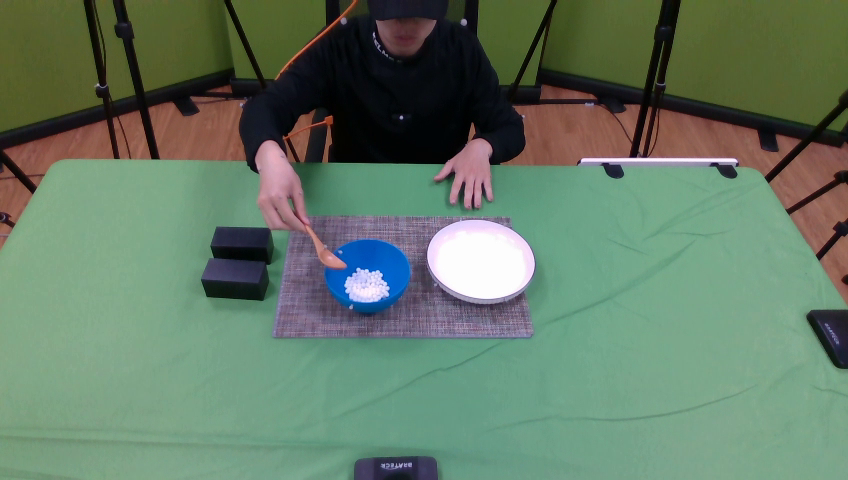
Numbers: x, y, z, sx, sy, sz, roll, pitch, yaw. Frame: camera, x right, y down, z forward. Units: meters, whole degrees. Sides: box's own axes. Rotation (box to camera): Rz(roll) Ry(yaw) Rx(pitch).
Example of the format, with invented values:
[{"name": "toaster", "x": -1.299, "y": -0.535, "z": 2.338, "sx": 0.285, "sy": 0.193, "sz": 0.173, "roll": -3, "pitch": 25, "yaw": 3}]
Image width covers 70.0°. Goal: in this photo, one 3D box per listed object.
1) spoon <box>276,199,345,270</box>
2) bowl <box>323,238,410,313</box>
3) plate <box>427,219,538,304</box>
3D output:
[{"name": "spoon", "x": -0.199, "y": -0.012, "z": 1.044, "sx": 0.042, "sy": 0.022, "sz": 0.193, "roll": -10, "pitch": 51, "yaw": -50}, {"name": "bowl", "x": -0.101, "y": 0.077, "z": 1.073, "sx": 0.151, "sy": 0.077, "sz": 0.150, "roll": 2, "pitch": 46, "yaw": -2}, {"name": "plate", "x": 0.109, "y": 0.044, "z": 1.149, "sx": 0.208, "sy": 0.039, "sz": 0.206, "roll": 2, "pitch": 46, "yaw": -2}]
